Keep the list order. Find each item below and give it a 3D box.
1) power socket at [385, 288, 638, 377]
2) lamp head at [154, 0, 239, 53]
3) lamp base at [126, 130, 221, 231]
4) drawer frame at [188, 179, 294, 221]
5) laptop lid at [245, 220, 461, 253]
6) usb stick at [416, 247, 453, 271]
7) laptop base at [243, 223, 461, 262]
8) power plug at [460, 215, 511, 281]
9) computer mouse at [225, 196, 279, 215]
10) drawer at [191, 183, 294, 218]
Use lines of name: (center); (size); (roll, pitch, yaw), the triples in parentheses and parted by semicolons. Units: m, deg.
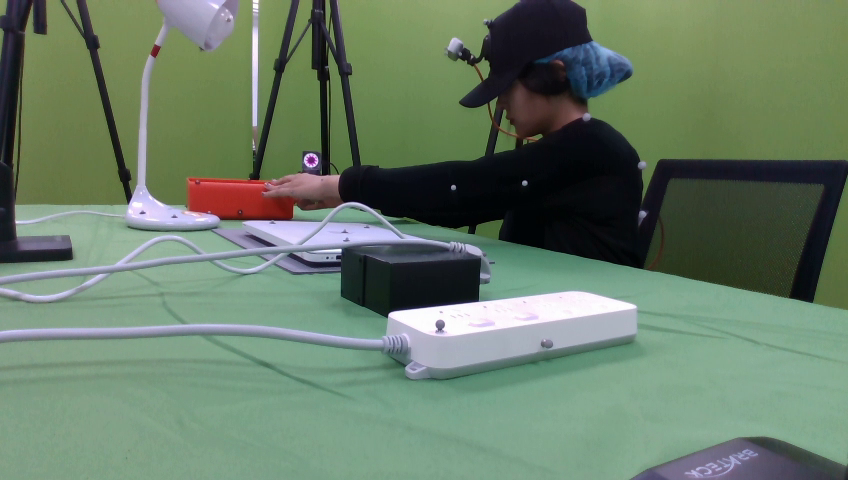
power socket: (0.074, 0.064, 0.462); (0.228, 0.032, 0.072); (-3, 8, -34)
lamp head: (-0.406, -0.402, 1.059); (0.123, 0.112, 0.112); (25, 5, -6)
lamp base: (-0.469, -0.112, 1.108); (0.179, 0.180, 0.160); (0, 7, 3)
drawer frame: (-0.416, -0.094, 1.367); (0.214, 0.082, 0.201); (-1, 9, -24)
laptop lid: (-0.124, -0.009, 0.945); (0.243, 0.013, 0.355); (1, 7, -29)
usb stick: (0.009, 0.024, 0.755); (0.027, 0.021, 0.059); (37, -17, -17)
laptop base: (-0.126, 0.003, 0.945); (0.237, 0.023, 0.352); (2, 6, -31)
power plug: (0.064, 0.011, 0.624); (0.053, 0.072, 0.035); (-5, 40, -2)
computer mouse: (-0.388, -0.078, 1.366); (0.118, 0.041, 0.062); (-2, 6, -22)
drawer: (-0.413, -0.092, 1.370); (0.213, 0.073, 0.193); (-2, 9, -22)
